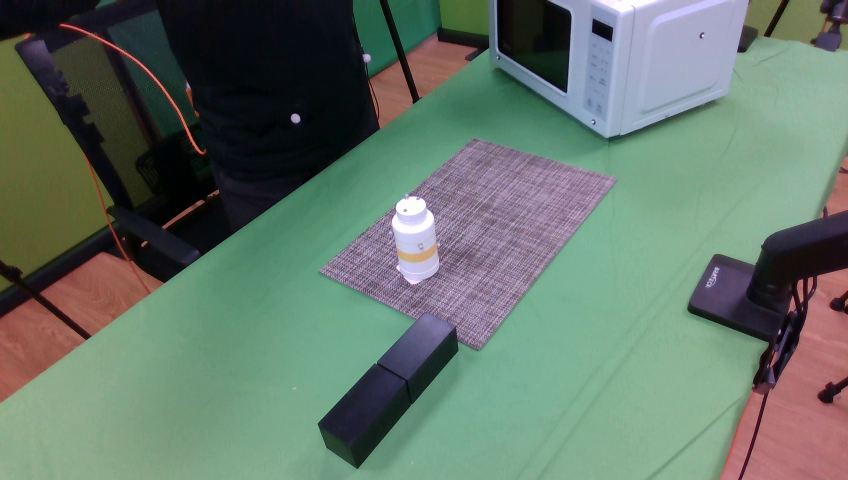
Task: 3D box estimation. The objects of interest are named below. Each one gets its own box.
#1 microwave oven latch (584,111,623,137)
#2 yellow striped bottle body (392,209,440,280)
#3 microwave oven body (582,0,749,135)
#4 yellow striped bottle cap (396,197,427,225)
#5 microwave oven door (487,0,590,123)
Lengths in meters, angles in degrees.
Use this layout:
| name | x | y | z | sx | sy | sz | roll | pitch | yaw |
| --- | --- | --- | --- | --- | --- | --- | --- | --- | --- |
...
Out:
| name | x | y | z | sx | sy | sz | roll | pitch | yaw |
| --- | --- | --- | --- | --- | --- | --- | --- | --- | --- |
| microwave oven latch | 0.337 | -0.222 | 1.142 | 0.030 | 0.029 | 0.078 | -21 | 42 | -14 |
| yellow striped bottle body | -0.013 | -0.003 | 0.892 | 0.063 | 0.121 | 0.062 | -4 | 41 | 4 |
| microwave oven body | 0.382 | -0.444 | 1.246 | 0.327 | 0.261 | 0.437 | -22 | 42 | -16 |
| yellow striped bottle cap | -0.018 | -0.042 | 0.858 | 0.044 | 0.019 | 0.044 | -5 | 38 | 4 |
| microwave oven door | 0.231 | -0.420 | 1.230 | 0.039 | 0.245 | 0.352 | -22 | 43 | -16 |
